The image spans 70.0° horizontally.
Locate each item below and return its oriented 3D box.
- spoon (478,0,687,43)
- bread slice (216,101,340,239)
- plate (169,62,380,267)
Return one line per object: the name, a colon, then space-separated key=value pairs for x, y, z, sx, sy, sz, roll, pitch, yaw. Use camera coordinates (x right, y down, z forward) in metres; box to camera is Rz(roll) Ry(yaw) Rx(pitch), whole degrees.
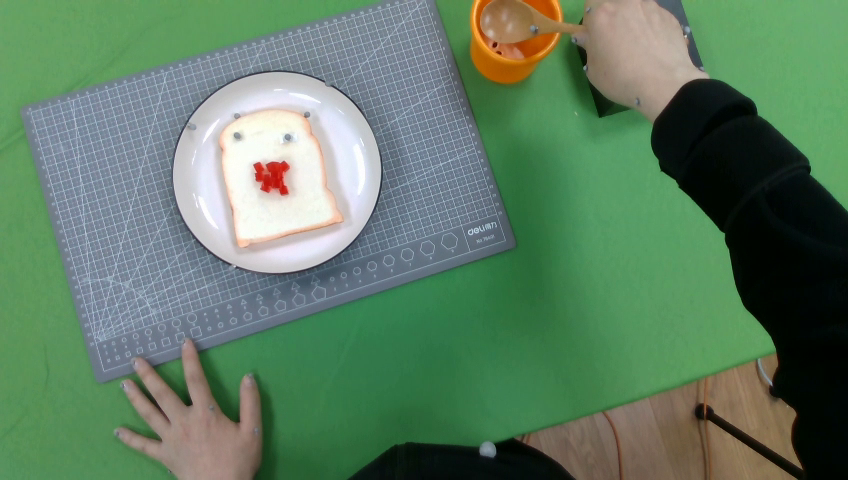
spoon: x=0.134 y=-0.194 z=0.541 sx=0.192 sy=0.022 sz=0.042 roll=22 pitch=114 yaw=31
bread slice: x=-0.156 y=-0.074 z=0.620 sx=0.107 sy=0.018 sz=0.134 roll=-18 pitch=86 yaw=-5
plate: x=-0.148 y=-0.075 z=0.619 sx=0.209 sy=0.038 sz=0.208 roll=0 pitch=85 yaw=-3
